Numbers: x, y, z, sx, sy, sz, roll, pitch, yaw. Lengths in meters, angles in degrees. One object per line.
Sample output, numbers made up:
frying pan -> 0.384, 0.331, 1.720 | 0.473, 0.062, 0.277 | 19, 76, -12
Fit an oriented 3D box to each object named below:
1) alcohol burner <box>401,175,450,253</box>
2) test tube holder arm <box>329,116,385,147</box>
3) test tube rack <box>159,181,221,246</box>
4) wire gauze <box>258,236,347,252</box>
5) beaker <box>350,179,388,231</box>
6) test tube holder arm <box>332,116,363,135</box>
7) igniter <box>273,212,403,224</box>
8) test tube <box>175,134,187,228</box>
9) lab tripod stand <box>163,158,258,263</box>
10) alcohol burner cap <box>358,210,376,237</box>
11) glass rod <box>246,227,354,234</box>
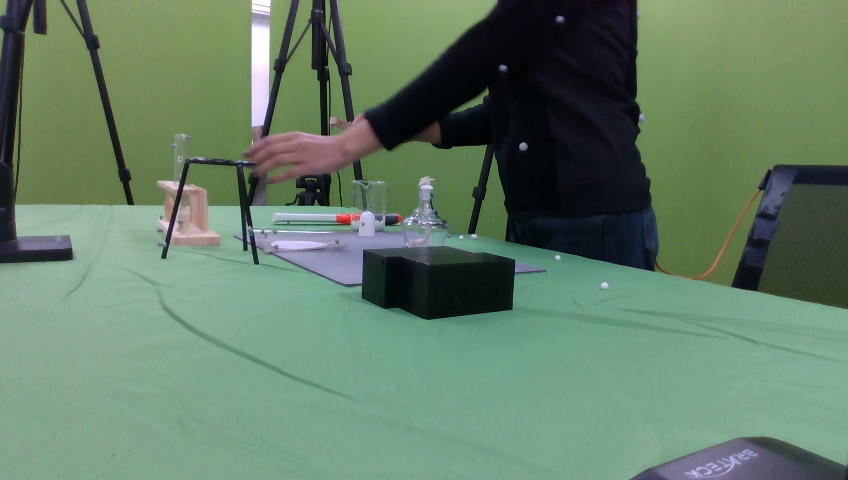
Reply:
alcohol burner -> 0.003, -0.040, 0.933 | 0.078, 0.119, 0.078 | 2, 9, 0
test tube holder arm -> -0.132, -0.218, 1.228 | 0.013, 0.015, 0.179 | 11, -2, 30
test tube rack -> -0.395, -0.050, 1.010 | 0.067, 0.085, 0.241 | -2, 8, -28
wire gauze -> -0.189, 0.005, 0.931 | 0.122, 0.011, 0.124 | 1, 7, -21
beaker -> -0.111, -0.069, 1.204 | 0.074, 0.100, 0.084 | 2, 8, 0
test tube holder arm -> -0.149, -0.223, 1.186 | 0.010, 0.015, 0.088 | 11, -2, 31
igniter -> -0.179, -0.048, 1.290 | 0.278, 0.025, 0.057 | -1, -2, -25
test tube -> -0.388, -0.094, 0.964 | 0.017, 0.150, 0.017 | 1, 2, 0
lab tripod stand -> -0.265, -0.041, 0.802 | 0.148, 0.131, 0.148 | 4, 6, 0
alcohol burner cap -> -0.104, -0.030, 1.098 | 0.034, 0.048, 0.034 | 2, 7, 0
glass rod -> -0.224, -0.017, 1.109 | 0.201, 0.008, 0.008 | 1, 6, -27
